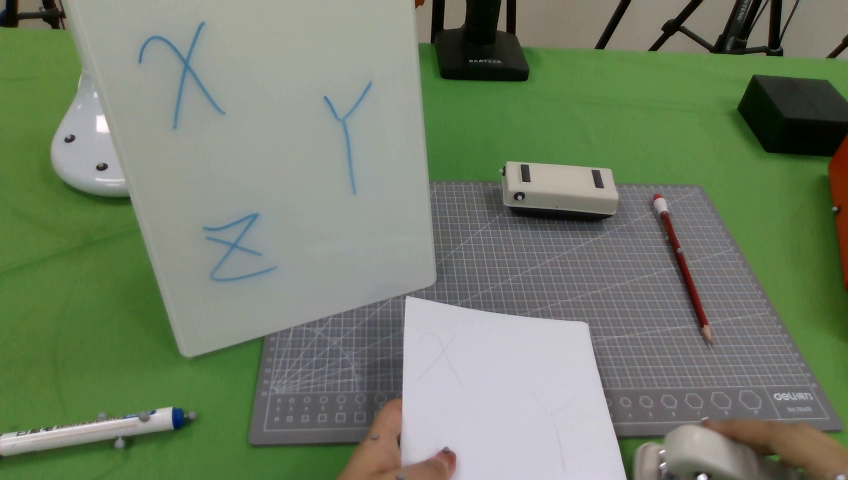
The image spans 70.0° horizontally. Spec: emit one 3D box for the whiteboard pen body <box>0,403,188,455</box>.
[{"bbox_3d":[-0.236,0.131,0.413,0.141,0.017,0.017,-7,45,-12],"label":"whiteboard pen body"}]

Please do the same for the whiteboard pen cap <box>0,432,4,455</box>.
[{"bbox_3d":[-0.295,0.137,0.398,0.033,0.018,0.018,-8,46,-12],"label":"whiteboard pen cap"}]

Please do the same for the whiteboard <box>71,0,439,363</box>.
[{"bbox_3d":[-0.123,-0.094,0.488,0.218,0.308,0.142,-15,28,-19],"label":"whiteboard"}]

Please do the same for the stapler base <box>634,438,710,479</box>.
[{"bbox_3d":[0.214,0.169,0.417,0.130,0.024,0.041,16,53,7],"label":"stapler base"}]

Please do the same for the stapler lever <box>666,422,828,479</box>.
[{"bbox_3d":[0.218,0.152,0.397,0.118,0.040,0.026,17,53,6],"label":"stapler lever"}]

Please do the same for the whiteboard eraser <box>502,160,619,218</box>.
[{"bbox_3d":[0.137,-0.051,0.617,0.113,0.042,0.055,5,45,-1],"label":"whiteboard eraser"}]

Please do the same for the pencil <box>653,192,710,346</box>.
[{"bbox_3d":[0.246,0.020,0.580,0.012,0.012,0.192,4,46,-2],"label":"pencil"}]

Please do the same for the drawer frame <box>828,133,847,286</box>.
[{"bbox_3d":[0.527,-0.016,0.597,0.201,0.083,0.212,17,45,12],"label":"drawer frame"}]

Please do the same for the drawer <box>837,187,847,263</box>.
[{"bbox_3d":[0.504,0.029,0.551,0.194,0.074,0.210,17,45,12],"label":"drawer"}]

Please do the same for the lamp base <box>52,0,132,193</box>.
[{"bbox_3d":[-0.305,-0.163,0.587,0.178,0.182,0.160,29,49,26],"label":"lamp base"}]
